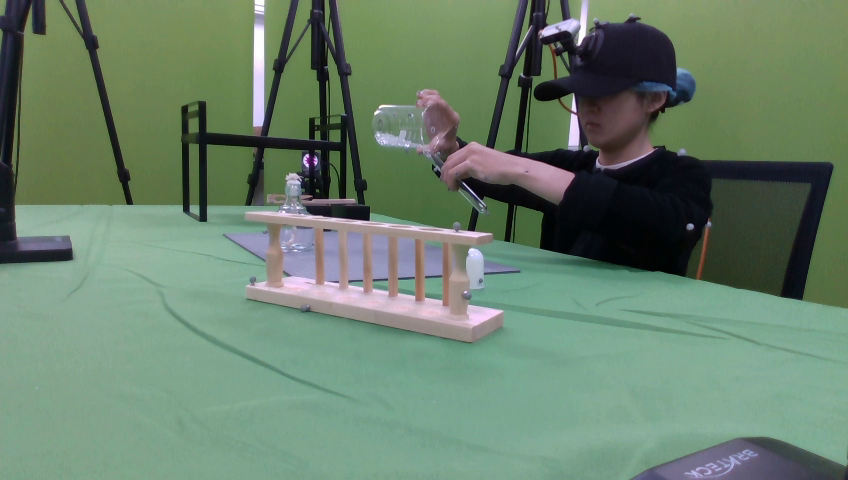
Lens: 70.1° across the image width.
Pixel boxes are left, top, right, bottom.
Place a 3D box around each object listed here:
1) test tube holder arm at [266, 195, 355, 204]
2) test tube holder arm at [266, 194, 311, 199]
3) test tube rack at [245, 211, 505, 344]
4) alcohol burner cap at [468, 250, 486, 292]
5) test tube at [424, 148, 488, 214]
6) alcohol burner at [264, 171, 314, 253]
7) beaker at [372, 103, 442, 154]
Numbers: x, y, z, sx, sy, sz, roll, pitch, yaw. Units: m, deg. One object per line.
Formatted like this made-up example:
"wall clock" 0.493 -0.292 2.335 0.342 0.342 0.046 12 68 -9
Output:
"test tube holder arm" -0.222 -0.081 1.196 0.179 0.013 0.015 -4 3 -30
"test tube holder arm" -0.262 -0.084 1.173 0.088 0.010 0.015 -3 2 -30
"test tube rack" -0.049 0.025 0.547 0.241 0.085 0.067 7 8 29
"alcohol burner cap" 0.056 0.035 0.690 0.034 0.048 0.034 2 7 0
"test tube" 0.051 -0.095 0.971 0.149 0.017 0.017 48 29 21
"alcohol burner" -0.194 -0.042 0.888 0.078 0.119 0.078 3 5 0
"beaker" -0.031 -0.188 1.017 0.100 0.084 0.074 7 -1 26
